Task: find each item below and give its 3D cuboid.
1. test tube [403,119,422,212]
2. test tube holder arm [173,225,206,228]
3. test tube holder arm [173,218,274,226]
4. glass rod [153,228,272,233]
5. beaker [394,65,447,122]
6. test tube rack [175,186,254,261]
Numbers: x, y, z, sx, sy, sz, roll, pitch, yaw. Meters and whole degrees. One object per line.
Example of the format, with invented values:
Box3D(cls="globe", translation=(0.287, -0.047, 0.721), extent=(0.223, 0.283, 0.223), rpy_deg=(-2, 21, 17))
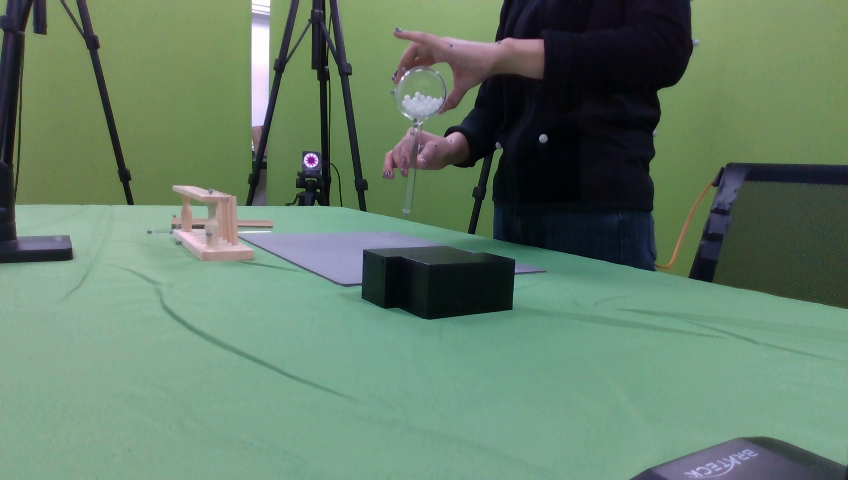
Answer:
Box3D(cls="test tube", translation=(-0.019, -0.116, 0.960), extent=(0.017, 0.150, 0.017), rpy_deg=(7, 19, -2))
Box3D(cls="test tube holder arm", translation=(-0.414, -0.030, 1.113), extent=(0.088, 0.015, 0.010), rpy_deg=(-1, -21, -25))
Box3D(cls="test tube holder arm", translation=(-0.371, -0.033, 1.128), extent=(0.179, 0.015, 0.013), rpy_deg=(-1, -21, -25))
Box3D(cls="glass rod", translation=(-0.368, -0.017, 1.065), extent=(0.201, 0.008, 0.008), rpy_deg=(-2, 8, -27))
Box3D(cls="beaker", translation=(-0.006, -0.215, 0.885), extent=(0.074, 0.084, 0.100), rpy_deg=(-2, 11, -4))
Box3D(cls="test tube rack", translation=(-0.314, -0.031, 0.889), extent=(0.067, 0.085, 0.241), rpy_deg=(-2, 8, -30))
